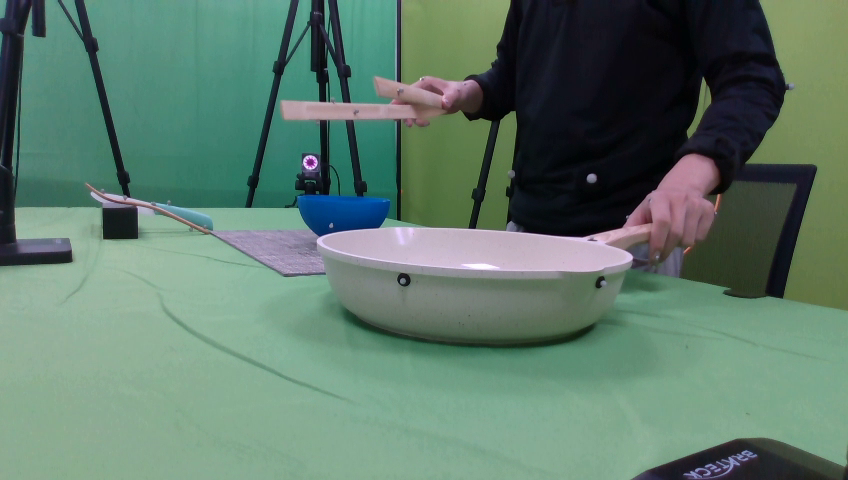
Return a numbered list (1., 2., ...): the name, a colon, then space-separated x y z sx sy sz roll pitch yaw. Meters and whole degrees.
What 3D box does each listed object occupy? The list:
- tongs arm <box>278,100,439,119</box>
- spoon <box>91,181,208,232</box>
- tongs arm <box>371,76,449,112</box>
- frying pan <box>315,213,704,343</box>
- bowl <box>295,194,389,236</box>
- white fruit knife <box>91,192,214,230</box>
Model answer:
1. tongs arm: -0.080 -0.207 0.942 0.050 0.026 0.386 -9 6 28
2. spoon: -0.461 -0.053 1.023 0.195 0.021 0.041 21 22 -24
3. tongs arm: -0.011 -0.216 0.912 0.028 0.028 0.388 -14 5 17
4. frying pan: 0.133 0.014 0.629 0.490 0.102 0.305 -11 14 -29
5. bowl: -0.132 -0.032 0.980 0.151 0.077 0.151 2 7 0
6. white fruit knife: -0.477 -0.055 1.077 0.208 0.027 0.016 15 -5 -30
